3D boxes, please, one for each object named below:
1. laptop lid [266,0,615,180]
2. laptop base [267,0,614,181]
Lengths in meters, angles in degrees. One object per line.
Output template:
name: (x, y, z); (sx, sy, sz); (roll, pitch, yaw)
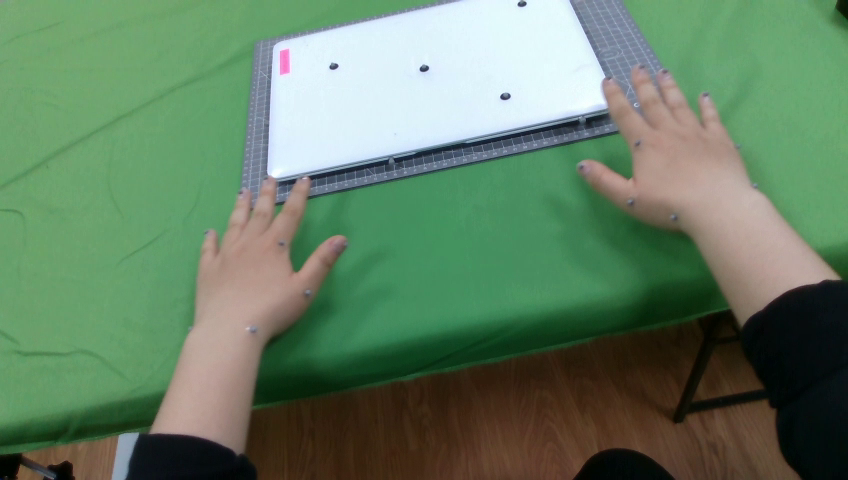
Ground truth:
laptop lid: (0.001, -0.184, 0.659); (0.356, 0.013, 0.239); (-10, 53, 4)
laptop base: (0.002, -0.179, 0.670); (0.354, 0.023, 0.233); (-11, 54, 3)
